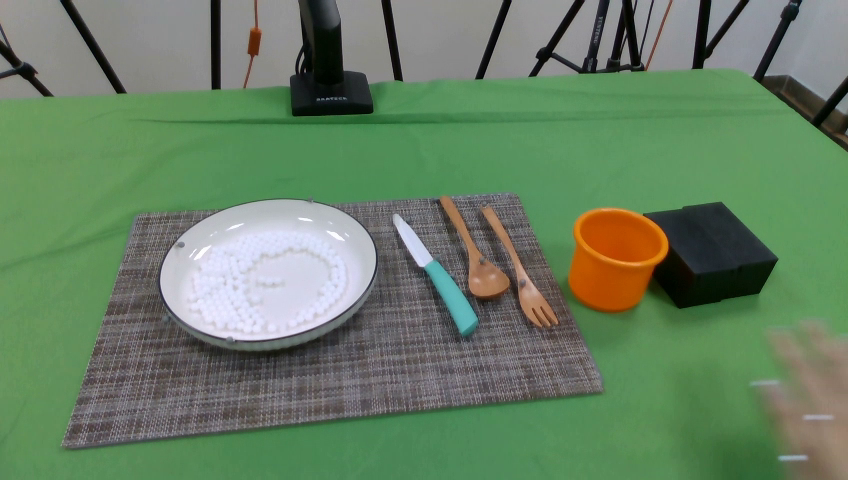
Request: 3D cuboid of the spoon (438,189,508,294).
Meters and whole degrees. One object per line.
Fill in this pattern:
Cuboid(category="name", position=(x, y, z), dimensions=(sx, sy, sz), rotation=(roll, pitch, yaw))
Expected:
Cuboid(category="spoon", position=(0.047, -0.005, 0.670), dimensions=(0.041, 0.022, 0.191), rotation=(-20, 44, -2))

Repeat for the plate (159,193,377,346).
Cuboid(category="plate", position=(-0.150, 0.028, 0.607), dimensions=(0.209, 0.038, 0.207), rotation=(2, 41, -1))

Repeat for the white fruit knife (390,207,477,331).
Cuboid(category="white fruit knife", position=(0.005, 0.021, 0.641), dimensions=(0.027, 0.016, 0.205), rotation=(-4, 39, -27))

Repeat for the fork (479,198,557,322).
Cuboid(category="fork", position=(0.095, 0.015, 0.654), dimensions=(0.028, 0.019, 0.205), rotation=(-13, 45, -7))
